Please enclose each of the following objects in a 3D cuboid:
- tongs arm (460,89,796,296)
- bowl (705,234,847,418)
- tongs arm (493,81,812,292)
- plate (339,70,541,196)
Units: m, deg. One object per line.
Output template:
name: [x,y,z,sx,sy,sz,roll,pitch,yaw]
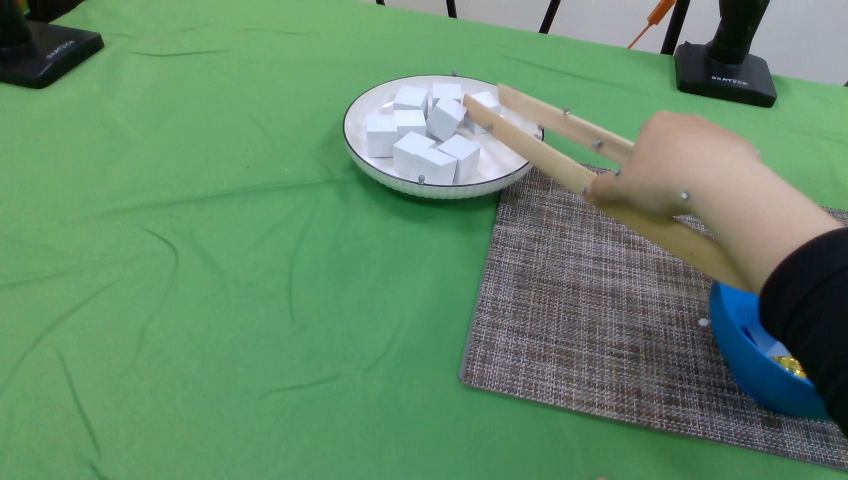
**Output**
tongs arm: [0.124,-0.062,0.502,0.028,0.028,0.383,-15,34,-21]
bowl: [0.271,0.072,0.440,0.151,0.077,0.150,3,45,-2]
tongs arm: [0.149,-0.070,0.511,0.051,0.027,0.380,-20,36,-22]
plate: [0.017,-0.111,0.633,0.209,0.038,0.207,2,44,-2]
